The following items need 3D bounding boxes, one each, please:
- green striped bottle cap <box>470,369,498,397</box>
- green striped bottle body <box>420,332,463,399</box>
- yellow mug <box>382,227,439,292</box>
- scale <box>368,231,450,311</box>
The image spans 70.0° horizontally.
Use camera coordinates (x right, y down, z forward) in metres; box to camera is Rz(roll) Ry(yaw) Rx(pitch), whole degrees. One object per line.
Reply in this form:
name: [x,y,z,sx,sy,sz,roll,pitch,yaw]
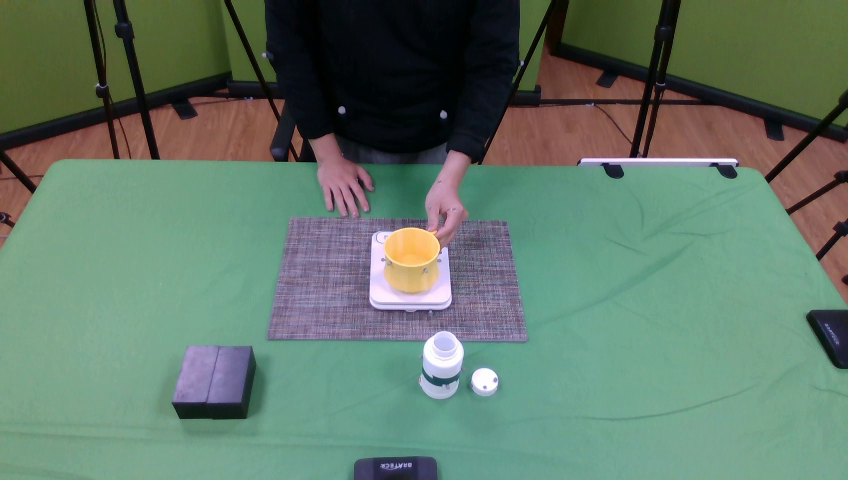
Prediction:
green striped bottle cap: [0.098,0.232,0.989,0.044,0.020,0.044,2,41,-1]
green striped bottle body: [0.027,0.193,0.947,0.063,0.120,0.063,2,47,-2]
yellow mug: [-0.014,0.025,1.074,0.099,0.064,0.130,29,48,26]
scale: [-0.029,0.048,1.137,0.149,0.032,0.199,1,46,-4]
